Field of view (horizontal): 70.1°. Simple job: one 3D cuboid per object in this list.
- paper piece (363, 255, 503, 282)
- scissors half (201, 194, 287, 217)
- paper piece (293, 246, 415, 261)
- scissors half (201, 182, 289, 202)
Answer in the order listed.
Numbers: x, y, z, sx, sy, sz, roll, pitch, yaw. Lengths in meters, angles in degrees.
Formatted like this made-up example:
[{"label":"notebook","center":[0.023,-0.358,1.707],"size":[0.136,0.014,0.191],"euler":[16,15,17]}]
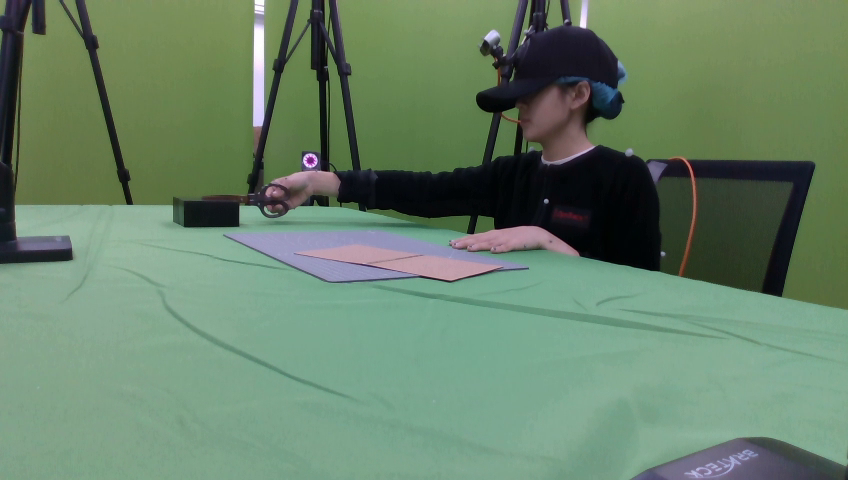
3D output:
[{"label":"paper piece","center":[0.014,0.034,0.799],"size":[0.135,0.004,0.136],"euler":[8,10,35]},{"label":"scissors half","center":[-0.362,-0.074,1.227],"size":[0.176,0.040,0.013],"euler":[10,10,-35]},{"label":"paper piece","center":[-0.096,0.020,0.873],"size":[0.137,0.008,0.137],"euler":[7,4,35]},{"label":"scissors half","center":[-0.359,-0.093,1.221],"size":[0.176,0.040,0.012],"euler":[-10,26,-30]}]
